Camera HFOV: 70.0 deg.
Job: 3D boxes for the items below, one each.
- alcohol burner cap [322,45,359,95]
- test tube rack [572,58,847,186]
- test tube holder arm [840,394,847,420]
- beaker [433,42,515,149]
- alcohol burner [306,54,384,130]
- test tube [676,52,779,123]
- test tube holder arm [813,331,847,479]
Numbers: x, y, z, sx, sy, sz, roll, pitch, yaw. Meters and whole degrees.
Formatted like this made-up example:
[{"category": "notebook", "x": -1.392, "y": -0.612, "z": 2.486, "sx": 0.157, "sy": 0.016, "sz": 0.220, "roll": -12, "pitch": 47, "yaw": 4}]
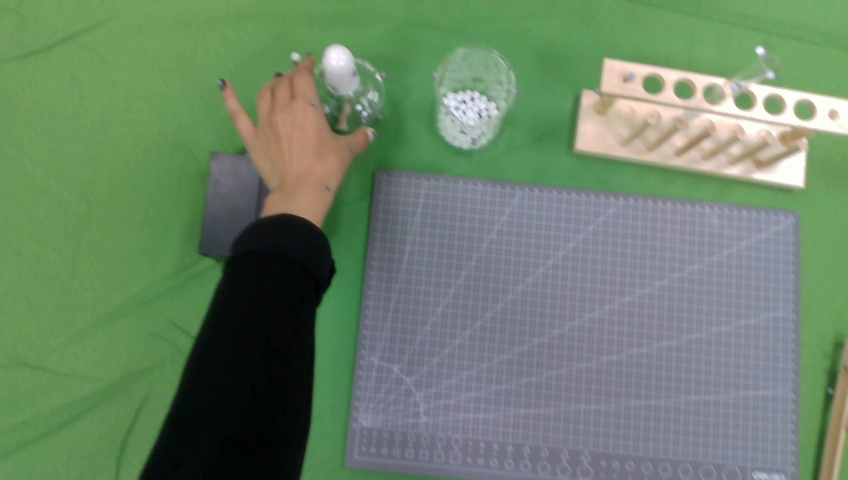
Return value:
[{"category": "alcohol burner cap", "x": -0.078, "y": -0.158, "z": 0.556, "sx": 0.034, "sy": 0.048, "sz": 0.033, "roll": 0, "pitch": 74, "yaw": -1}, {"category": "test tube rack", "x": 0.283, "y": -0.115, "z": 0.611, "sx": 0.242, "sy": 0.085, "sz": 0.066, "roll": 9, "pitch": 82, "yaw": 0}, {"category": "test tube holder arm", "x": 0.428, "y": 0.139, "z": 0.615, "sx": 0.010, "sy": 0.015, "sz": 0.087, "roll": 22, "pitch": 81, "yaw": -32}, {"category": "beaker", "x": 0.045, "y": -0.134, "z": 0.600, "sx": 0.074, "sy": 0.100, "sz": 0.083, "roll": 8, "pitch": 82, "yaw": 0}, {"category": "alcohol burner", "x": -0.078, "y": -0.153, "z": 0.592, "sx": 0.078, "sy": 0.119, "sz": 0.077, "roll": 0, "pitch": 80, "yaw": -2}, {"category": "test tube", "x": 0.275, "y": -0.137, "z": 0.564, "sx": 0.017, "sy": 0.150, "sz": 0.017, "roll": 0, "pitch": 84, "yaw": -4}, {"category": "test tube holder arm", "x": 0.411, "y": 0.180, "z": 0.607, "sx": 0.013, "sy": 0.015, "sz": 0.178, "roll": 20, "pitch": 82, "yaw": -32}]
